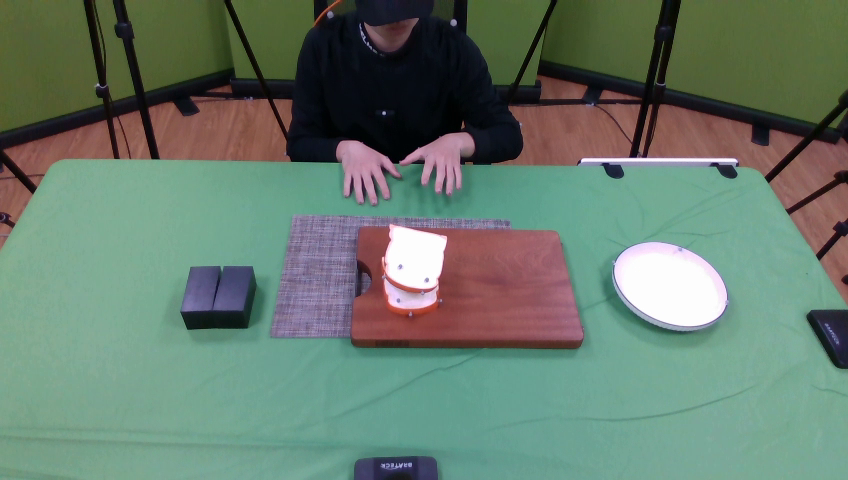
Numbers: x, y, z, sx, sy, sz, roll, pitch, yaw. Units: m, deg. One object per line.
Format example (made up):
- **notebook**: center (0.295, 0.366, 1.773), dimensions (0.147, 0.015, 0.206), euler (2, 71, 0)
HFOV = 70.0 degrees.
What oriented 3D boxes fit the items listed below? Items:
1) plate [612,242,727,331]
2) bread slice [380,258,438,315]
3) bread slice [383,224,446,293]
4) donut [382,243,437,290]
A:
- **plate**: center (0.455, 0.090, 1.138), dimensions (0.209, 0.038, 0.208), euler (3, 45, -2)
- **bread slice**: center (-0.024, 0.079, 1.087), dimensions (0.105, 0.019, 0.130), euler (-2, 45, -5)
- **bread slice**: center (-0.017, 0.034, 1.050), dimensions (0.107, 0.018, 0.133), euler (11, 48, -7)
- **donut**: center (-0.026, 0.046, 1.077), dimensions (0.099, 0.048, 0.098), euler (4, 45, -3)
